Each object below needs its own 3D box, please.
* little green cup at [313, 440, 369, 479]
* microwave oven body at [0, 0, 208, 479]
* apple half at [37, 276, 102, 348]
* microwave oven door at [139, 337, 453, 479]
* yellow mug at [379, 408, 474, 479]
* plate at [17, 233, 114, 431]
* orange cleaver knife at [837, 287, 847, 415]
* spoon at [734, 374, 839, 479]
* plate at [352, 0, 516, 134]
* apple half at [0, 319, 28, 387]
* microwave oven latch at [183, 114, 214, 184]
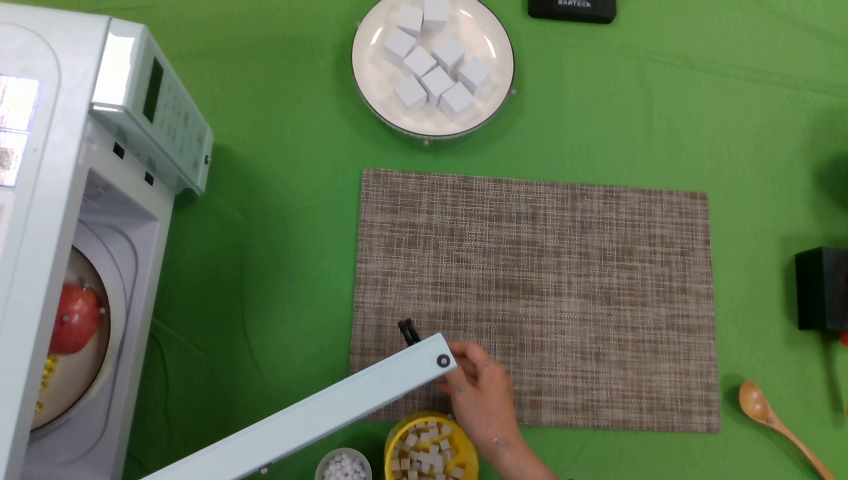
[{"bbox_3d":[-0.090,0.252,0.669,0.061,0.039,0.061,1,77,-4],"label":"little green cup"},{"bbox_3d":[-0.423,0.026,0.566,0.326,0.261,0.440,7,79,-5],"label":"microwave oven body"},{"bbox_3d":[-0.371,0.072,0.610,0.081,0.033,0.081,1,78,-2],"label":"apple half"},{"bbox_3d":[-0.149,0.179,0.557,0.356,0.244,0.039,-25,81,-10],"label":"microwave oven door"},{"bbox_3d":[-0.001,0.254,0.666,0.100,0.064,0.130,12,79,1],"label":"yellow mug"},{"bbox_3d":[-0.417,0.088,0.609,0.209,0.038,0.208,1,78,-5],"label":"plate"},{"bbox_3d":[0.531,0.107,0.737,0.012,0.077,0.212,5,102,0],"label":"orange cleaver knife"},{"bbox_3d":[0.443,0.238,0.732,0.193,0.022,0.041,46,59,5],"label":"spoon"},{"bbox_3d":[0.013,-0.230,0.779,0.208,0.039,0.206,1,78,-5],"label":"plate"},{"bbox_3d":[-0.436,0.110,0.581,0.081,0.053,0.074,18,89,-14],"label":"apple half"},{"bbox_3d":[-0.266,-0.108,0.707,0.030,0.029,0.079,8,79,-4],"label":"microwave oven latch"}]
